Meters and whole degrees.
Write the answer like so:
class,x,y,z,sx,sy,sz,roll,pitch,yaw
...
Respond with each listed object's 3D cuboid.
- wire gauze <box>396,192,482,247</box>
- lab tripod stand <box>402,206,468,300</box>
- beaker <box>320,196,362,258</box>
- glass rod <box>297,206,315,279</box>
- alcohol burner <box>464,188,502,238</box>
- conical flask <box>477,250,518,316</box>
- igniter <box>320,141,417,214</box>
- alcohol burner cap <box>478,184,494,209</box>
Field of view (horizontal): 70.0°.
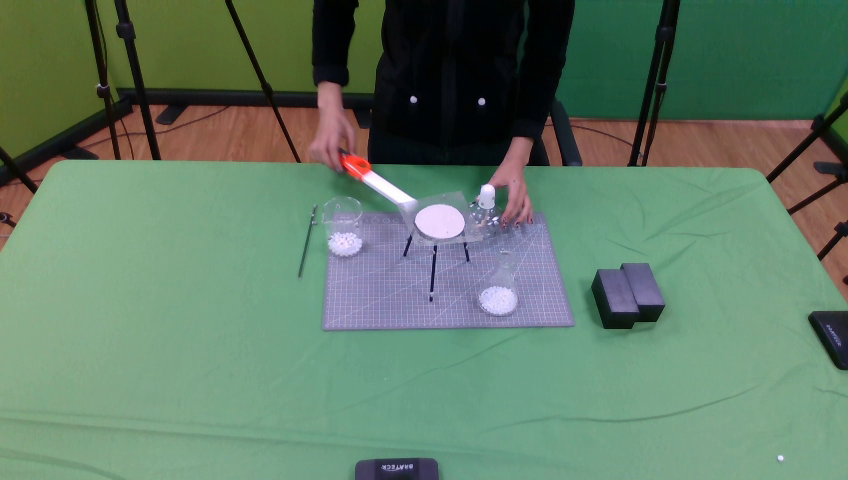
class,x,y,z,sx,sy,sz,roll,pitch,yaw
wire gauze,0.025,-0.036,1.061,0.125,0.011,0.120,-9,47,-14
lab tripod stand,0.023,0.013,1.108,0.148,0.132,0.147,3,44,-2
beaker,-0.156,-0.021,1.150,0.084,0.101,0.073,-30,55,-28
glass rod,-0.231,0.000,1.191,0.008,0.008,0.198,2,46,-1
alcohol burner,0.120,-0.061,1.201,0.078,0.119,0.077,3,47,-4
conical flask,0.136,0.072,1.067,0.075,0.122,0.075,2,46,-2
igniter,-0.122,-0.135,1.253,0.275,0.025,0.057,35,57,27
alcohol burner cap,0.121,-0.086,1.175,0.034,0.048,0.033,0,42,0
